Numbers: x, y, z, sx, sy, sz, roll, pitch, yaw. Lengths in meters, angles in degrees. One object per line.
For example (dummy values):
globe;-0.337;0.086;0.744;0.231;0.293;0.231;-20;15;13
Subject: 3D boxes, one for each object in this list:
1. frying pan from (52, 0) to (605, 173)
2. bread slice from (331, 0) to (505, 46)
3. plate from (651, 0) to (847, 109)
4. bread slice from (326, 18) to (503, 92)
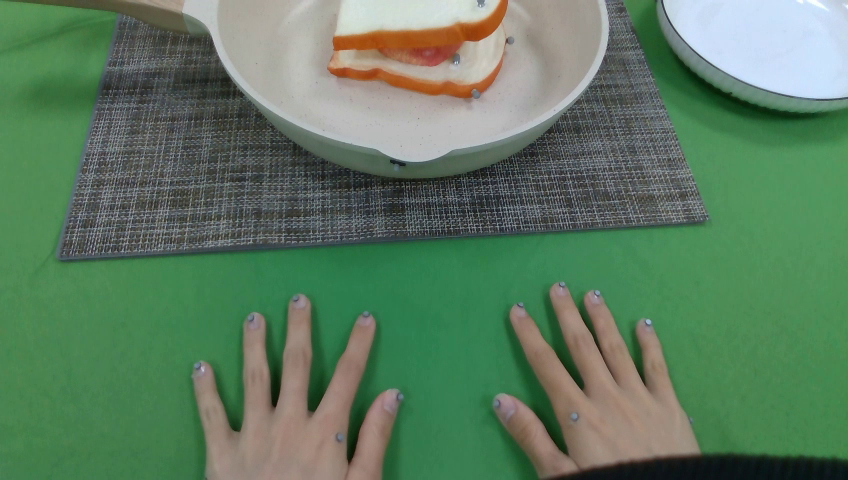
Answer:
frying pan;-0.114;-0.175;0.456;0.489;0.103;0.304;6;57;-9
bread slice;-0.002;-0.196;0.467;0.131;0.019;0.104;1;64;12
plate;0.300;-0.188;0.531;0.208;0.039;0.205;2;59;-2
bread slice;-0.002;-0.169;0.503;0.134;0.018;0.106;10;60;2
